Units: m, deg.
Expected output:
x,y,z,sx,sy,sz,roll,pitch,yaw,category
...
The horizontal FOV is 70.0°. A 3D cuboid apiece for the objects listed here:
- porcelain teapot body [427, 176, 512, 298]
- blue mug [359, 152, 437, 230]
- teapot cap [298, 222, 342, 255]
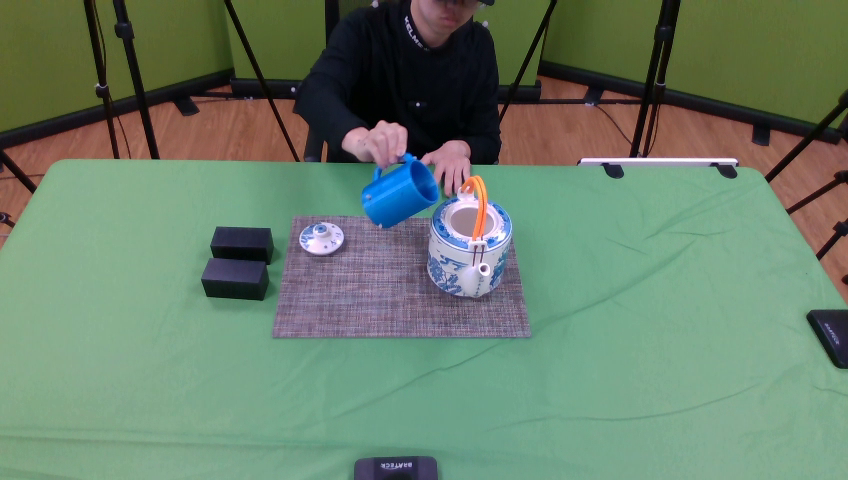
x,y,z,sx,sy,sz,roll,pitch,yaw,category
0.085,0.009,1.051,0.145,0.226,0.204,-5,47,-8,porcelain teapot body
-0.048,-0.090,1.020,0.082,0.106,0.116,5,62,-55,blue mug
-0.201,-0.008,1.171,0.085,0.044,0.084,1,47,0,teapot cap
